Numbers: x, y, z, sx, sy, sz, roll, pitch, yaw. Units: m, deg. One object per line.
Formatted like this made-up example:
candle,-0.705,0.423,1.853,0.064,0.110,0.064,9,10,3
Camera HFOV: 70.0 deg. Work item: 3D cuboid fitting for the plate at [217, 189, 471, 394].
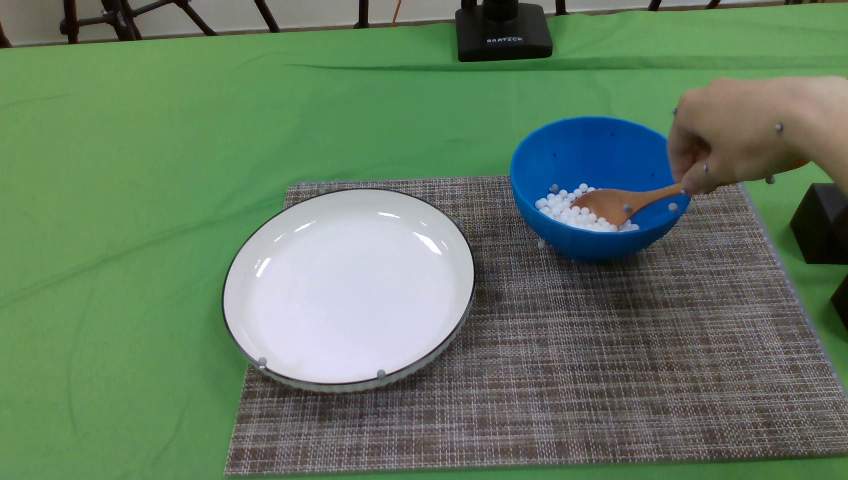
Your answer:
plate,-0.064,0.041,0.511,0.207,0.039,0.205,-2,48,2

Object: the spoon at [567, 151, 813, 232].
spoon,0.195,-0.037,0.475,0.022,0.193,0.041,9,74,-37

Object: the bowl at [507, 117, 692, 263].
bowl,0.148,-0.032,0.533,0.151,0.077,0.150,-2,47,3
